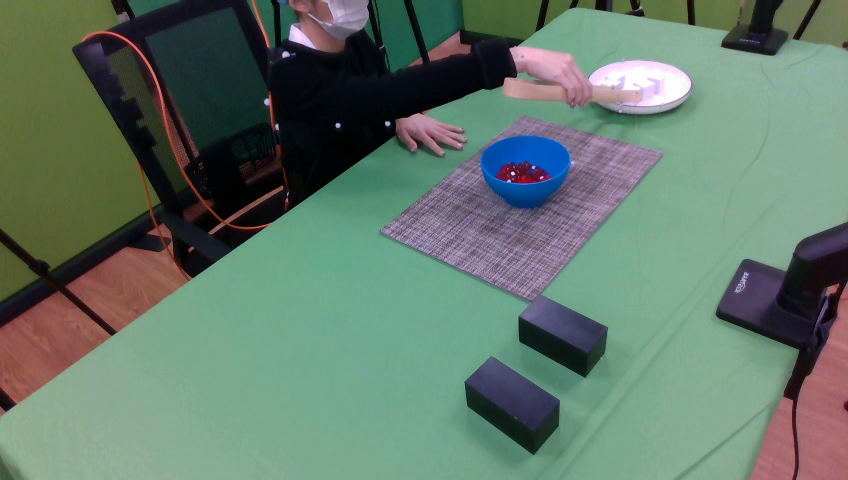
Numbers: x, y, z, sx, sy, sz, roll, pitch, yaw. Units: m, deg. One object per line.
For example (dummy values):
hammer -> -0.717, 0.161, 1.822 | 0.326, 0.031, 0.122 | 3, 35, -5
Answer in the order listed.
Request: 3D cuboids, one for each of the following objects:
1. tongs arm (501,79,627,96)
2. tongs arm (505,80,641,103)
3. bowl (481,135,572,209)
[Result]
tongs arm -> 0.271, -0.277, 1.125 | 0.390, 0.028, 0.028 | -9, 30, -40
tongs arm -> 0.287, -0.269, 1.109 | 0.388, 0.026, 0.050 | -12, 29, -44
bowl -> 0.172, -0.106, 1.025 | 0.151, 0.077, 0.150 | -4, 40, 4
